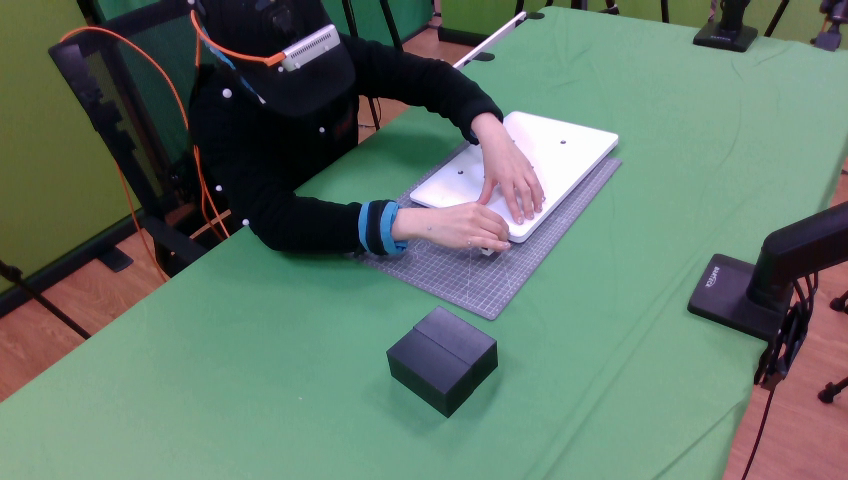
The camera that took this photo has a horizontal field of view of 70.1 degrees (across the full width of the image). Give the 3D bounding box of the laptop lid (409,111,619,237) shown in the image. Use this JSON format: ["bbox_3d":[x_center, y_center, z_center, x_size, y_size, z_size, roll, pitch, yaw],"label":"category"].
[{"bbox_3d":[0.168,-0.136,1.090,0.239,0.013,0.358,24,49,34],"label":"laptop lid"}]

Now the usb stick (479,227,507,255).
[{"bbox_3d":[0.109,-0.002,0.932,0.021,0.027,0.059,20,37,34],"label":"usb stick"}]

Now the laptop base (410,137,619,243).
[{"bbox_3d":[0.170,-0.127,1.096,0.233,0.023,0.355,21,47,33],"label":"laptop base"}]
